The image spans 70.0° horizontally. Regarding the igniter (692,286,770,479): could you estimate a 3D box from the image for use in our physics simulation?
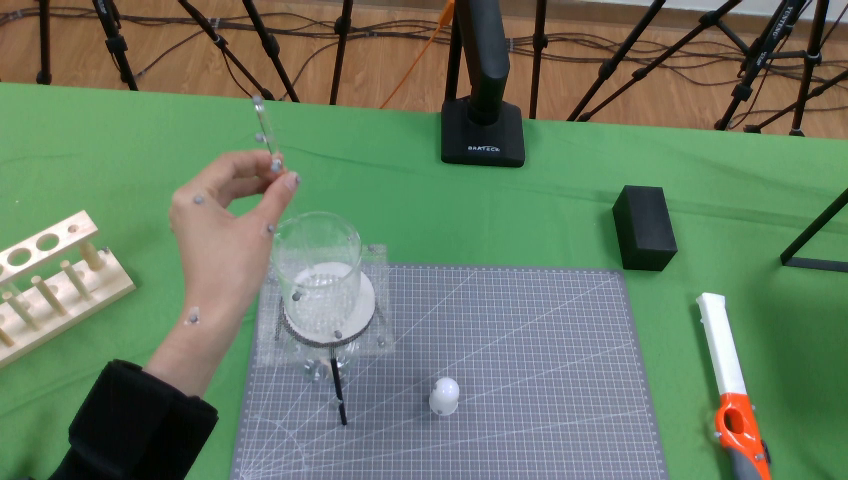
[{"bbox_3d":[0.344,0.176,0.679,0.057,0.025,0.274,11,56,-11],"label":"igniter"}]

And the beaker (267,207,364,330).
[{"bbox_3d":[-0.094,0.028,0.530,0.084,0.101,0.073,23,58,10],"label":"beaker"}]

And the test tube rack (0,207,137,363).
[{"bbox_3d":[-0.446,0.070,0.638,0.242,0.086,0.066,-35,66,-24],"label":"test tube rack"}]

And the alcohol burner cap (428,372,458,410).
[{"bbox_3d":[0.021,0.159,0.647,0.034,0.048,0.033,2,57,-3],"label":"alcohol burner cap"}]

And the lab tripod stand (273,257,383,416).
[{"bbox_3d":[-0.095,0.092,0.625,0.148,0.132,0.147,3,57,-5],"label":"lab tripod stand"}]

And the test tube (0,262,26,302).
[{"bbox_3d":[-0.440,0.021,0.612,0.017,0.151,0.017,3,52,-4],"label":"test tube"}]

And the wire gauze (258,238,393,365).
[{"bbox_3d":[-0.094,0.053,0.572,0.121,0.011,0.124,-3,61,-6],"label":"wire gauze"}]

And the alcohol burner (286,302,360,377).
[{"bbox_3d":[-0.106,0.097,0.632,0.078,0.120,0.077,4,55,-5],"label":"alcohol burner"}]

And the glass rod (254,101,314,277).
[{"bbox_3d":[-0.105,-0.028,0.470,0.008,0.201,0.008,-1,53,1],"label":"glass rod"}]
